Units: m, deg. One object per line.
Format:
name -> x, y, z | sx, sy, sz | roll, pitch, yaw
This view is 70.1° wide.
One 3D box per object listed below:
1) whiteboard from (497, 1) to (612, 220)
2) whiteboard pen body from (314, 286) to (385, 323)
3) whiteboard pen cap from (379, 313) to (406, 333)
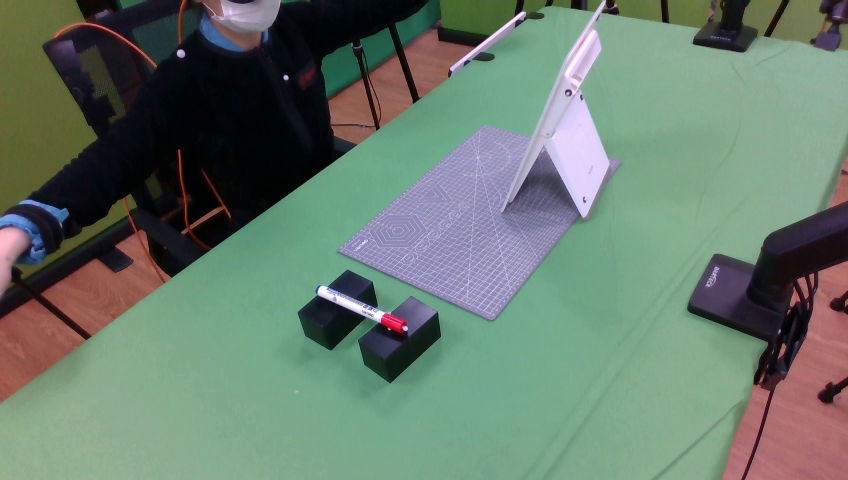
whiteboard -> 0.260, -0.178, 0.963 | 0.143, 0.306, 0.217 | 28, 49, 9
whiteboard pen body -> -0.089, 0.089, 0.802 | 0.139, 0.017, 0.017 | 19, 47, 27
whiteboard pen cap -> -0.041, 0.106, 0.776 | 0.032, 0.017, 0.017 | 18, 46, 24
